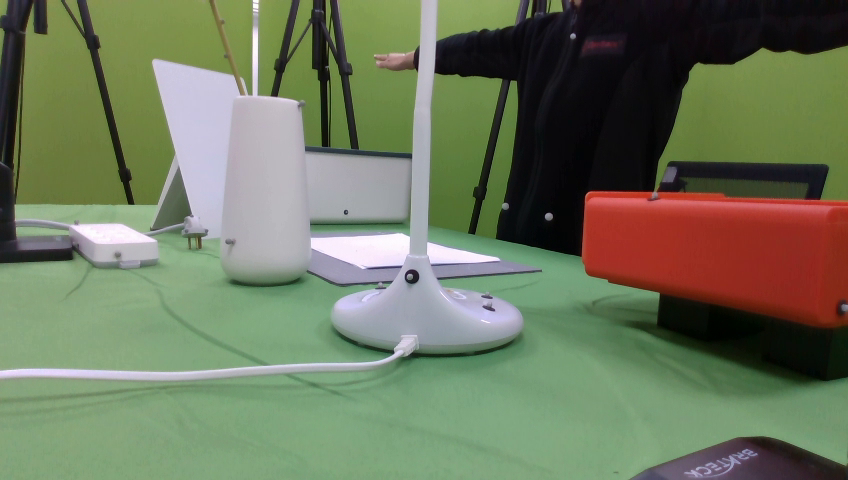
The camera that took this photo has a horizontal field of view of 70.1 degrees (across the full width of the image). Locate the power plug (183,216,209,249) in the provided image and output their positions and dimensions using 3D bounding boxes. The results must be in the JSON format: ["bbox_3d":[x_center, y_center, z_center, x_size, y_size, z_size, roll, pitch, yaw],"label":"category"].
[{"bbox_3d":[-0.335,-0.007,0.891,0.035,0.052,0.072,-4,-11,-18],"label":"power plug"}]

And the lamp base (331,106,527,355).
[{"bbox_3d":[0.006,-0.012,0.478,0.161,0.180,0.179,2,10,2],"label":"lamp base"}]

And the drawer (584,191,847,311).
[{"bbox_3d":[0.280,0.000,0.513,0.195,0.073,0.211,0,8,-28],"label":"drawer"}]

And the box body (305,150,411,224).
[{"bbox_3d":[-0.233,-0.127,1.374,0.366,0.160,0.253,-2,8,-29],"label":"box body"}]

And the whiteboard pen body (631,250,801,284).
[{"bbox_3d":[0.240,0.020,0.512,0.017,0.017,0.140,-4,8,-41],"label":"whiteboard pen body"}]

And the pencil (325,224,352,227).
[{"bbox_3d":[-0.249,-0.043,1.341,0.195,0.012,0.012,9,3,-30],"label":"pencil"}]

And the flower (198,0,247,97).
[{"bbox_3d":[-0.187,-0.133,0.648,0.038,0.362,0.044,-1,22,43],"label":"flower"}]

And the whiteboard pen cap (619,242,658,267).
[{"bbox_3d":[0.198,0.014,0.556,0.018,0.018,0.033,-4,15,-38],"label":"whiteboard pen cap"}]

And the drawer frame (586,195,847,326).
[{"bbox_3d":[0.284,0.004,0.508,0.203,0.082,0.212,-1,6,-28],"label":"drawer frame"}]

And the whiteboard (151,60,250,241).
[{"bbox_3d":[-0.408,-0.140,1.093,0.143,0.305,0.218,-15,0,25],"label":"whiteboard"}]

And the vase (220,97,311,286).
[{"bbox_3d":[-0.172,-0.052,0.662,0.098,0.200,0.098,3,8,0],"label":"vase"}]

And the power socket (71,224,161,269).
[{"bbox_3d":[-0.408,0.004,0.793,0.072,0.032,0.225,-2,8,-38],"label":"power socket"}]

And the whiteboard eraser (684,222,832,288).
[{"bbox_3d":[0.304,0.012,0.558,0.056,0.042,0.112,-10,20,-30],"label":"whiteboard eraser"}]

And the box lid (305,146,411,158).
[{"bbox_3d":[-0.232,-0.200,1.363,0.373,0.015,0.262,0,8,-29],"label":"box lid"}]
